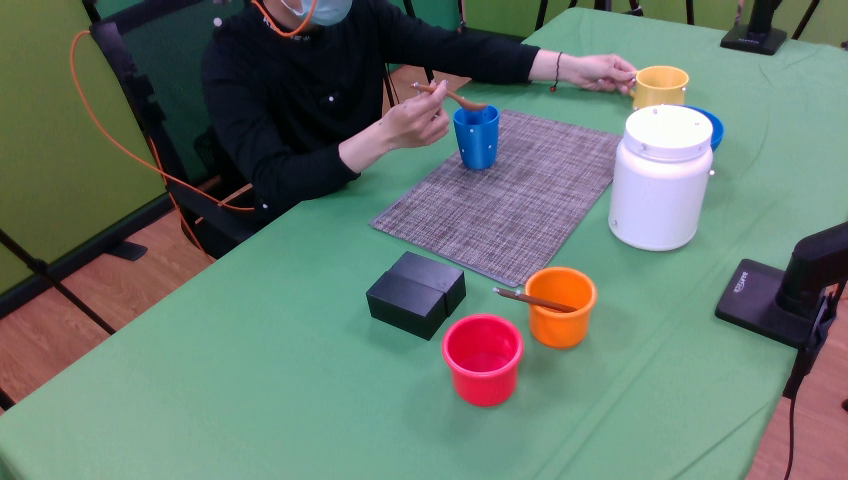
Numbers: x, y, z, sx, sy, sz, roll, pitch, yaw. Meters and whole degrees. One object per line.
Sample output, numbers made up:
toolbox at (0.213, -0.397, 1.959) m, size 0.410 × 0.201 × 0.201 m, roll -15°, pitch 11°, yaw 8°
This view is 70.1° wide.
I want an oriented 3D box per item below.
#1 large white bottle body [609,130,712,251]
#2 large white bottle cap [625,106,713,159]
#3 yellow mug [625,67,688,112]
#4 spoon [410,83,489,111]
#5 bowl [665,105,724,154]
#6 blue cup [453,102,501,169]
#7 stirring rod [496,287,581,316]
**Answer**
large white bottle body at (0.351, -0.090, 0.904) m, size 0.130 × 0.185 × 0.130 m, roll -5°, pitch 41°, yaw 4°
large white bottle cap at (0.342, -0.153, 0.848) m, size 0.115 × 0.018 × 0.114 m, roll -4°, pitch 41°, yaw 4°
yellow mug at (0.465, -0.305, 1.230) m, size 0.100 × 0.064 × 0.129 m, roll -34°, pitch 46°, yaw -27°
spoon at (0.043, -0.240, 1.006) m, size 0.041 × 0.021 × 0.195 m, roll 9°, pitch 2°, yaw 41°
bowl at (0.438, -0.166, 1.063) m, size 0.151 × 0.077 × 0.150 m, roll -4°, pitch 41°, yaw 4°
blue cup at (0.099, -0.188, 1.115) m, size 0.092 × 0.100 × 0.092 m, roll -4°, pitch 39°, yaw 4°
stirring rod at (0.150, 0.080, 0.773) m, size 0.178 × 0.006 × 0.014 m, roll 17°, pitch 21°, yaw -42°
